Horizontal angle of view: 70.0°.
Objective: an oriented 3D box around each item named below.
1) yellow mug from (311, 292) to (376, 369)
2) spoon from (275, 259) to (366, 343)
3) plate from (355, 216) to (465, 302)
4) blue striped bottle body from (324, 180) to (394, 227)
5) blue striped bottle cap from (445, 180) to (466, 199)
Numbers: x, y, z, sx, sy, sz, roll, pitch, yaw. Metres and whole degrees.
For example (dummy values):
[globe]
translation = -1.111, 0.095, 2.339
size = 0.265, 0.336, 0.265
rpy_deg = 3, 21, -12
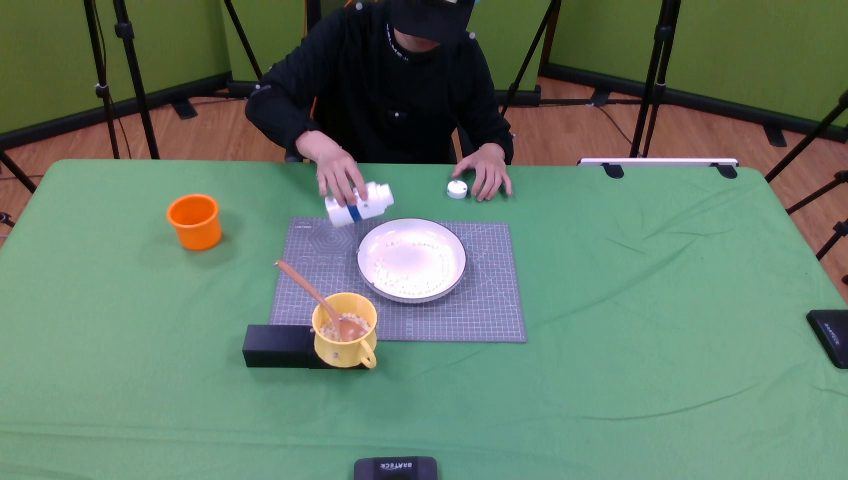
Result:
[yellow mug]
translation = -0.115, 0.149, 0.945
size = 0.100, 0.064, 0.130
rpy_deg = -30, 57, -28
[spoon]
translation = -0.161, 0.098, 0.946
size = 0.194, 0.021, 0.041
rpy_deg = 48, 57, -5
[plate]
translation = -0.027, 0.039, 1.144
size = 0.208, 0.039, 0.206
rpy_deg = 2, 46, -2
[blue striped bottle body]
translation = -0.119, -0.071, 1.126
size = 0.121, 0.063, 0.062
rpy_deg = -17, 48, 1
[blue striped bottle cap]
translation = 0.069, -0.109, 1.313
size = 0.044, 0.021, 0.044
rpy_deg = 4, 43, -3
